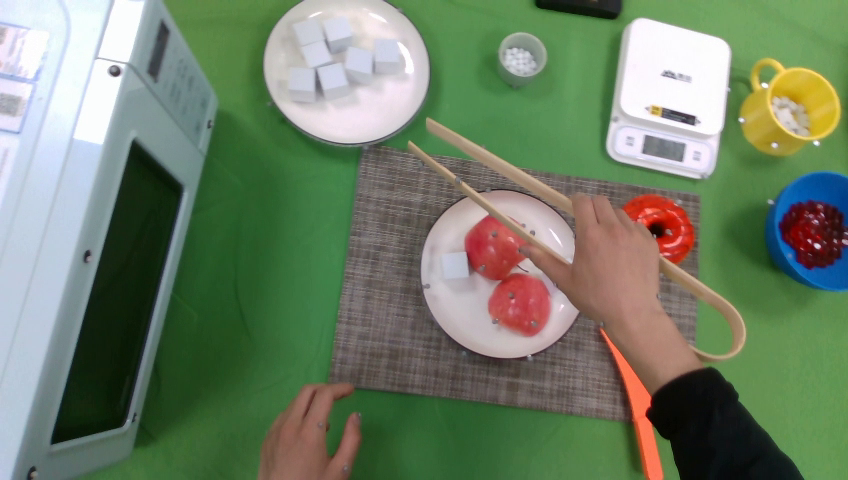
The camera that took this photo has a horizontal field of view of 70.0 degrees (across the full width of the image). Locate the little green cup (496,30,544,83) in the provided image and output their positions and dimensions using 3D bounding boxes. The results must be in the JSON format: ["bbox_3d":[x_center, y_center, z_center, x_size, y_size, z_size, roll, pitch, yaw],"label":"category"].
[{"bbox_3d":[0.124,-0.239,0.799,0.061,0.039,0.061,1,79,-5],"label":"little green cup"}]

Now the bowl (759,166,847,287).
[{"bbox_3d":[0.490,-0.011,0.775,0.151,0.077,0.151,1,80,-5],"label":"bowl"}]

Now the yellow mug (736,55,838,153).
[{"bbox_3d":[0.477,-0.189,0.811,0.100,0.064,0.130,-25,82,-9],"label":"yellow mug"}]

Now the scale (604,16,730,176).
[{"bbox_3d":[0.327,-0.195,0.815,0.149,0.031,0.200,12,79,-3],"label":"scale"}]

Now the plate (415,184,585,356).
[{"bbox_3d":[0.092,0.037,0.743,0.209,0.038,0.208,1,80,-6],"label":"plate"}]

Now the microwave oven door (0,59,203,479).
[{"bbox_3d":[-0.301,0.041,0.584,0.039,0.244,0.354,10,79,-3],"label":"microwave oven door"}]

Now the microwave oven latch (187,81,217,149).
[{"bbox_3d":[-0.270,-0.151,0.725,0.030,0.029,0.079,12,80,-4],"label":"microwave oven latch"}]

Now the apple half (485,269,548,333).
[{"bbox_3d":[0.115,0.071,0.733,0.081,0.033,0.081,0,81,-2],"label":"apple half"}]

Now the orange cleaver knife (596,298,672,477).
[{"bbox_3d":[0.268,0.178,0.745,0.077,0.012,0.210,-9,80,-12],"label":"orange cleaver knife"}]

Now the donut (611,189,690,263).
[{"bbox_3d":[0.286,-0.016,0.769,0.099,0.048,0.098,1,81,-3],"label":"donut"}]

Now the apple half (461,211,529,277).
[{"bbox_3d":[0.088,-0.001,0.734,0.081,0.053,0.074,-36,82,-11],"label":"apple half"}]

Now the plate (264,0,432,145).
[{"bbox_3d":[-0.095,-0.217,0.774,0.208,0.039,0.207,1,80,-6],"label":"plate"}]

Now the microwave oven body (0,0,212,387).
[{"bbox_3d":[-0.437,-0.026,0.587,0.326,0.260,0.440,11,80,-4],"label":"microwave oven body"}]

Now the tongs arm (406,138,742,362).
[{"bbox_3d":[0.139,-0.001,0.614,0.382,0.027,0.050,40,76,14],"label":"tongs arm"}]

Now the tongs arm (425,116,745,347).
[{"bbox_3d":[0.153,-0.019,0.620,0.385,0.028,0.028,36,71,13],"label":"tongs arm"}]
